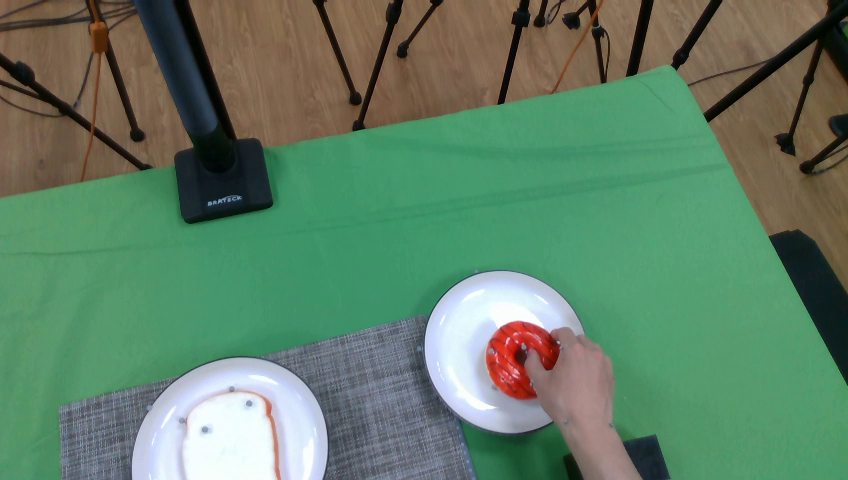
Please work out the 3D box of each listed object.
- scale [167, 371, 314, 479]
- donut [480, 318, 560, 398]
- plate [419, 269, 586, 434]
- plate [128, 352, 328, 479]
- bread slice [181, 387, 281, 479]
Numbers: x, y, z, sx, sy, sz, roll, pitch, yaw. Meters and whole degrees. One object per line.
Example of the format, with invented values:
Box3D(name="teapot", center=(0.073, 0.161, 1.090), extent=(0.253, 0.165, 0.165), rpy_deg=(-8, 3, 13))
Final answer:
Box3D(name="scale", center=(-0.205, 0.258, 0.686), extent=(0.149, 0.032, 0.199), rpy_deg=(-12, 67, -9))
Box3D(name="donut", center=(0.118, 0.146, 0.747), extent=(0.099, 0.048, 0.098), rpy_deg=(2, 67, -3))
Box3D(name="plate", center=(0.097, 0.139, 0.762), extent=(0.208, 0.039, 0.206), rpy_deg=(2, 65, -3))
Box3D(name="plate", center=(-0.209, 0.228, 0.663), extent=(0.209, 0.038, 0.207), rpy_deg=(2, 66, -4))
Box3D(name="bread slice", center=(-0.215, 0.228, 0.665), extent=(0.105, 0.019, 0.130), rpy_deg=(-8, 67, -10))
